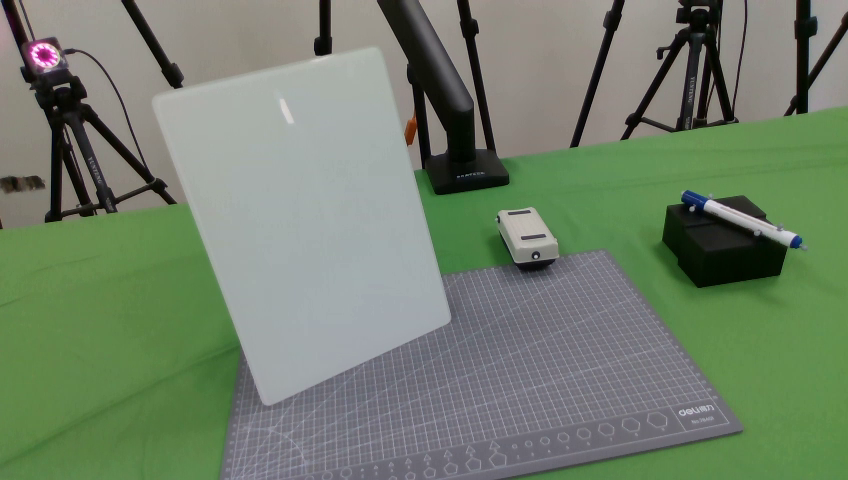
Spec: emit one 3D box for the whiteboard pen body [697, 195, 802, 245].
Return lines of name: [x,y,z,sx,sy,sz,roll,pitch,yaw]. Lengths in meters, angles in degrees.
whiteboard pen body: [0.363,-0.029,0.697,0.017,0.017,0.139,-23,36,-25]

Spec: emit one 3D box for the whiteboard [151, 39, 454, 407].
whiteboard: [-0.126,-0.026,0.643,0.217,0.307,0.143,-21,17,-22]

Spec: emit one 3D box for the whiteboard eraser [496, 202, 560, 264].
whiteboard eraser: [0.129,-0.009,0.770,0.055,0.042,0.111,-9,29,-3]

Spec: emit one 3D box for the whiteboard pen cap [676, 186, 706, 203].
whiteboard pen cap: [0.327,-0.055,0.741,0.033,0.018,0.018,-11,28,25]
